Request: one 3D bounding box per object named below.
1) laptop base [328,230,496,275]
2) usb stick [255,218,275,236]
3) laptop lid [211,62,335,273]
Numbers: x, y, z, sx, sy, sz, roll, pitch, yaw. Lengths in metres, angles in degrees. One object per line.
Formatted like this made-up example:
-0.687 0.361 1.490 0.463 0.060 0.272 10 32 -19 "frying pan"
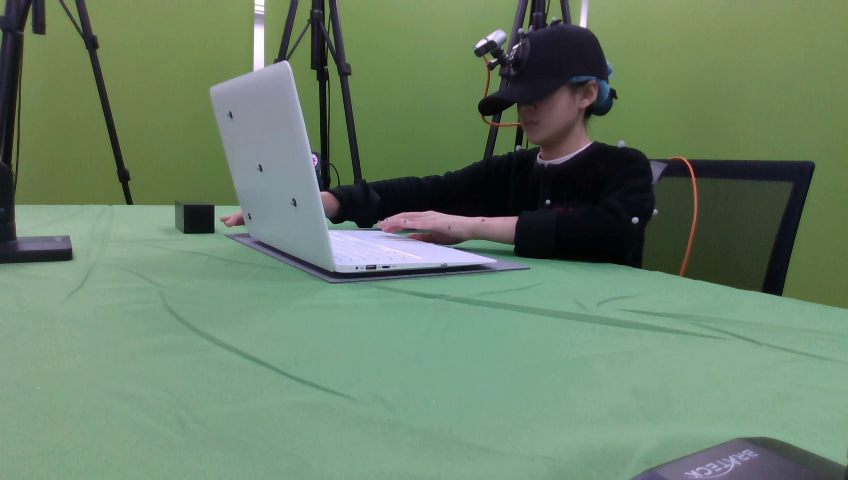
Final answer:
-0.091 0.016 0.884 0.237 0.023 0.352 3 6 -32 "laptop base"
-0.262 -0.021 1.004 0.021 0.027 0.059 -2 12 -32 "usb stick"
-0.211 -0.095 0.791 0.013 0.241 0.355 -18 18 -29 "laptop lid"
